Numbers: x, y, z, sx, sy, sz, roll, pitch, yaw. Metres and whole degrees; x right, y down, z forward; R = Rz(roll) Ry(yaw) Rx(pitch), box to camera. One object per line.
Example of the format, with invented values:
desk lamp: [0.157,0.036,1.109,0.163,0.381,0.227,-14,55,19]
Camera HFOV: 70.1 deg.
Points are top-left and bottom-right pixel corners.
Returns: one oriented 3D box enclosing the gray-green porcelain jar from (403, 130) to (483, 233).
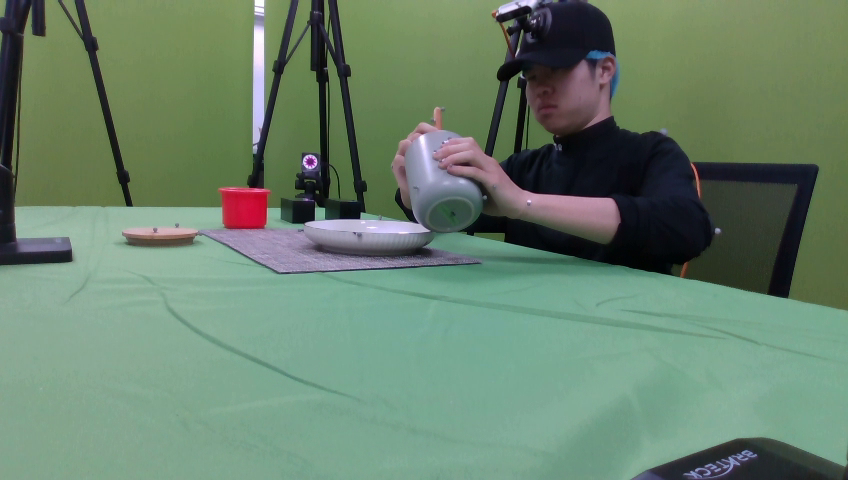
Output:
gray-green porcelain jar: [0.028,-0.082,0.894,0.106,0.106,0.126,1,48,-13]

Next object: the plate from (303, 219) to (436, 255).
plate: [-0.084,-0.005,0.952,0.208,0.039,0.207,3,7,0]

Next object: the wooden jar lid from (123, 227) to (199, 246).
wooden jar lid: [-0.408,-0.006,0.942,0.108,0.020,0.108,3,6,0]

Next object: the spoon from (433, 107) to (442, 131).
spoon: [0.021,-0.136,0.942,0.041,0.193,0.022,-9,-37,12]
